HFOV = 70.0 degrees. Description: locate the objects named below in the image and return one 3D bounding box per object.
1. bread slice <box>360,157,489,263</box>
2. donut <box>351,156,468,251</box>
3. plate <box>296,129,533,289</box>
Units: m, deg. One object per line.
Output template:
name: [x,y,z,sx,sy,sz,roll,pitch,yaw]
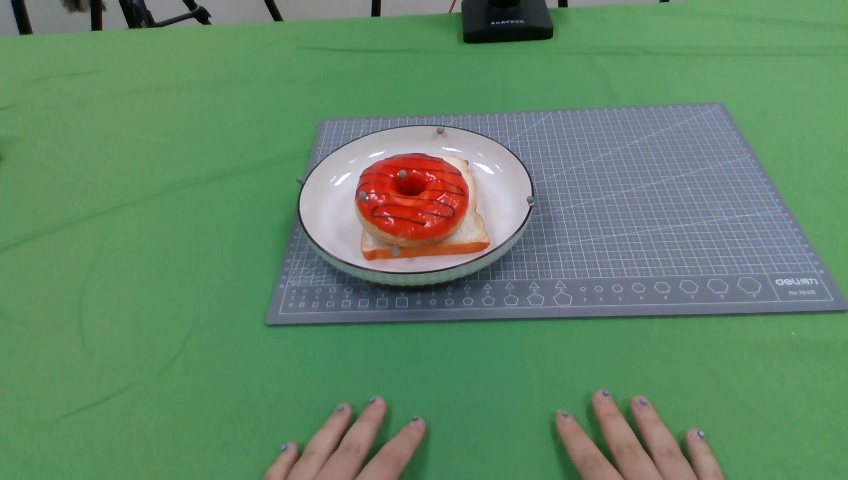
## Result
bread slice: [-0.005,-0.030,0.549,0.107,0.018,0.133,-5,44,-4]
donut: [-0.012,-0.031,0.507,0.099,0.049,0.098,0,46,1]
plate: [-0.008,-0.028,0.544,0.209,0.038,0.207,-2,43,2]
